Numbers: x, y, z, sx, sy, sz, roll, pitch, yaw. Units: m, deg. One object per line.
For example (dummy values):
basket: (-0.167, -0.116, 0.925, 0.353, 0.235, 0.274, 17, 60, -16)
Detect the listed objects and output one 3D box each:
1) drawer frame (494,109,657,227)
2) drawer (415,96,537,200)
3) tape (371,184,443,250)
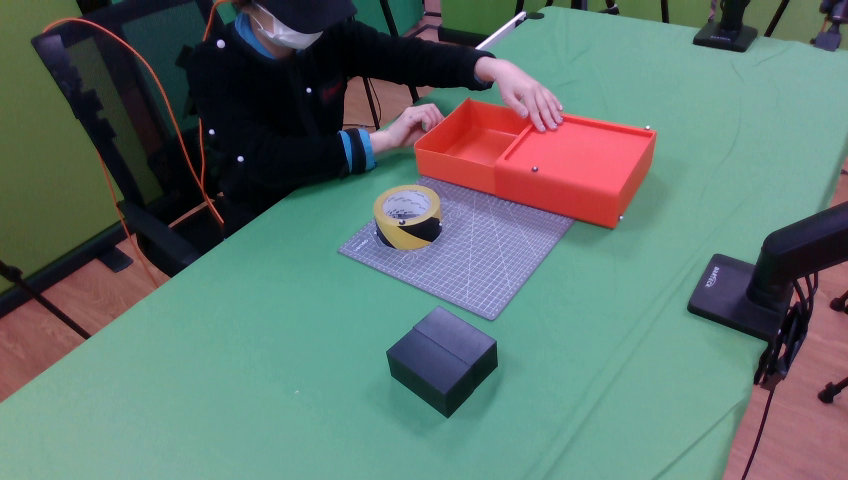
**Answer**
drawer frame: (0.258, -0.130, 1.032, 0.212, 0.083, 0.202, 18, 46, 25)
drawer: (0.123, -0.173, 1.108, 0.210, 0.073, 0.195, 20, 47, 28)
tape: (-0.028, -0.039, 0.990, 0.117, 0.053, 0.116, -4, 40, 4)
